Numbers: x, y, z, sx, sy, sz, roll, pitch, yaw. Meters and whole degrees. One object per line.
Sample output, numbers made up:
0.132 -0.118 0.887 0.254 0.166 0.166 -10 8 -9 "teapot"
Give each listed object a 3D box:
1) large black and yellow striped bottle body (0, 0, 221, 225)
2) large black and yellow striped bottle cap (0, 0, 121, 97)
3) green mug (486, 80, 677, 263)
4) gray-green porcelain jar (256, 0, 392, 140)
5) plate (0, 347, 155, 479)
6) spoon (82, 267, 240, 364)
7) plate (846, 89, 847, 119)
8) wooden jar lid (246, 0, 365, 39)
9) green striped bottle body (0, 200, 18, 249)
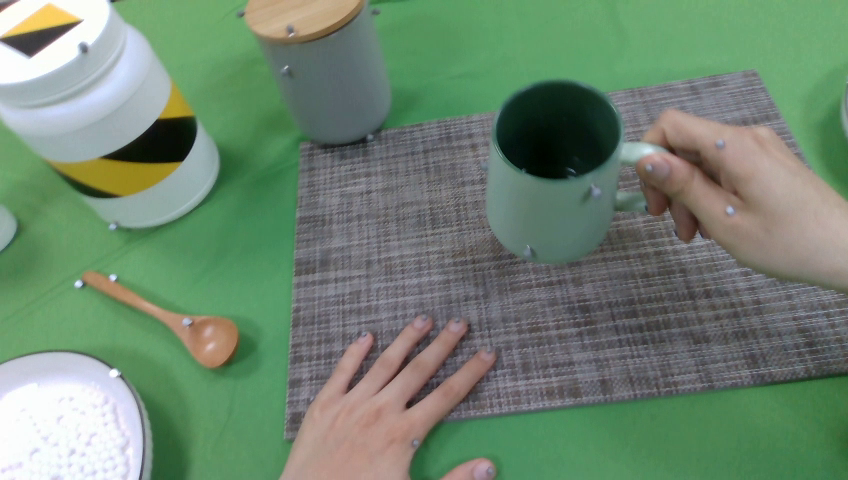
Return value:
-0.278 -0.113 0.536 0.130 0.186 0.129 -4 57 7 "large black and yellow striped bottle body"
-0.291 -0.156 0.466 0.115 0.019 0.114 -4 56 6 "large black and yellow striped bottle cap"
0.103 -0.042 0.408 0.125 0.106 0.092 3 63 9 "green mug"
-0.089 -0.168 0.572 0.106 0.128 0.105 -5 53 7 "gray-green porcelain jar"
-0.292 0.180 0.441 0.209 0.038 0.207 -4 57 7 "plate"
-0.230 0.056 0.519 0.192 0.022 0.041 21 82 20 "spoon"
0.455 -0.096 0.491 0.207 0.039 0.205 -4 57 7 "plate"
-0.098 -0.205 0.522 0.108 0.021 0.107 -6 56 9 "wooden jar lid"
-0.443 -0.038 0.555 0.063 0.120 0.062 -5 57 7 "green striped bottle body"
